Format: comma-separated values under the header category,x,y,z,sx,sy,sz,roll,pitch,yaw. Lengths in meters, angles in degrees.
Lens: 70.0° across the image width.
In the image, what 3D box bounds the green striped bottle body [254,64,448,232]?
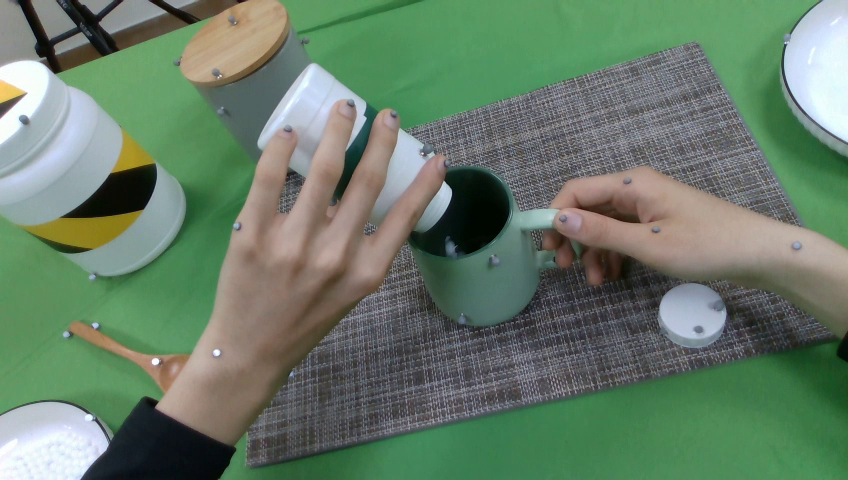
category,x,y,z,sx,sy,sz,roll,pitch,yaw
green striped bottle body,-0.041,-0.052,0.389,0.063,0.120,0.062,-43,26,28

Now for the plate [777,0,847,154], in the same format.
category,x,y,z,sx,sy,sz,roll,pitch,yaw
plate,0.387,-0.130,0.466,0.207,0.039,0.205,-9,57,14

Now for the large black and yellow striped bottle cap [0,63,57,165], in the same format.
category,x,y,z,sx,sy,sz,roll,pitch,yaw
large black and yellow striped bottle cap,-0.360,-0.102,0.505,0.115,0.019,0.114,-8,56,13

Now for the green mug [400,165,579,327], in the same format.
category,x,y,z,sx,sy,sz,roll,pitch,yaw
green mug,0.051,0.004,0.449,0.125,0.106,0.091,-8,57,14

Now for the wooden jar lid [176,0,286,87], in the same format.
category,x,y,z,sx,sy,sz,roll,pitch,yaw
wooden jar lid,-0.170,-0.173,0.544,0.108,0.021,0.107,-11,56,16

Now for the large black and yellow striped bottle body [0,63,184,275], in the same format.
category,x,y,z,sx,sy,sz,roll,pitch,yaw
large black and yellow striped bottle body,-0.336,-0.061,0.574,0.130,0.186,0.129,-8,58,14

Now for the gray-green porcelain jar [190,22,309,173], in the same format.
category,x,y,z,sx,sy,sz,roll,pitch,yaw
gray-green porcelain jar,-0.153,-0.138,0.593,0.105,0.128,0.105,-9,53,13

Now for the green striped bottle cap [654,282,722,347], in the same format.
category,x,y,z,sx,sy,sz,roll,pitch,yaw
green striped bottle cap,0.187,0.052,0.430,0.044,0.020,0.044,-9,52,12

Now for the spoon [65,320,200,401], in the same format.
category,x,y,z,sx,sy,sz,roll,pitch,yaw
spoon,-0.270,0.101,0.551,0.192,0.022,0.041,14,84,25

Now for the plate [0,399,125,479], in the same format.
category,x,y,z,sx,sy,sz,roll,pitch,yaw
plate,-0.324,0.232,0.478,0.209,0.038,0.207,-8,57,13
